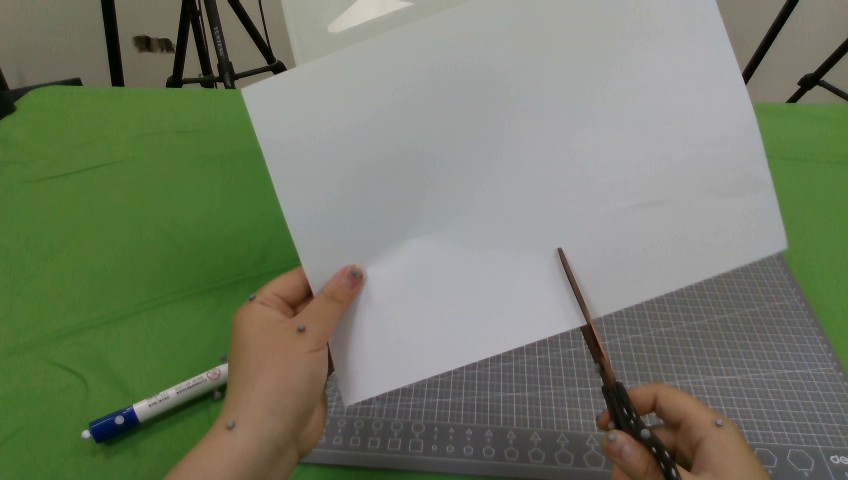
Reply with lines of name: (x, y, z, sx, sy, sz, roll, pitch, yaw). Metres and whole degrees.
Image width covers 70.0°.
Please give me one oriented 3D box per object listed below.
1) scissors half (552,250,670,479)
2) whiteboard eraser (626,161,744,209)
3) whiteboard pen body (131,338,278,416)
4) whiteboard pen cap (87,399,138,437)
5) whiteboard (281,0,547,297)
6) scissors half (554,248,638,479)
scissors half: (0.107, 0.080, 0.351, 0.013, 0.040, 0.173, -20, 61, 2)
whiteboard eraser: (0.285, -0.061, 0.668, 0.113, 0.042, 0.055, 1, 41, 1)
whiteboard pen body: (-0.182, 0.111, 0.477, 0.141, 0.017, 0.017, -23, 44, -27)
whiteboard pen cap: (-0.231, 0.131, 0.451, 0.033, 0.018, 0.018, -25, 45, -27)
whiteboard: (-0.019, -0.134, 0.603, 0.218, 0.307, 0.142, -16, 21, -17)
scissors half: (0.110, 0.087, 0.370, 0.013, 0.040, 0.174, -18, 81, -3)
